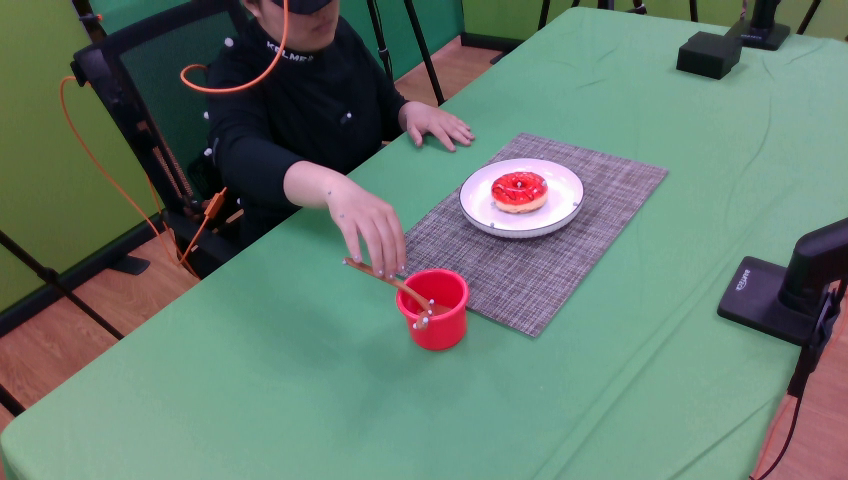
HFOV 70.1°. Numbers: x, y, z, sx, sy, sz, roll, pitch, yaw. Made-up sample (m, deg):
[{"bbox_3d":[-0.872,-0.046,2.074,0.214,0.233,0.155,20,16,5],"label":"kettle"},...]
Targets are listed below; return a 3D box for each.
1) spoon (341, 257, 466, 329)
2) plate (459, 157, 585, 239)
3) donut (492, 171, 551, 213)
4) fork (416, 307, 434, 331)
[{"bbox_3d":[-0.025,0.069,0.811,0.195,0.021,0.041,34,29,-18],"label":"spoon"},{"bbox_3d":[0.163,-0.068,1.015,0.209,0.038,0.208,-5,40,5],"label":"plate"},{"bbox_3d":[0.163,-0.083,1.015,0.099,0.048,0.098,-6,37,5],"label":"donut"},{"bbox_3d":[0.001,0.098,0.761,0.028,0.207,0.018,26,87,3],"label":"fork"}]
